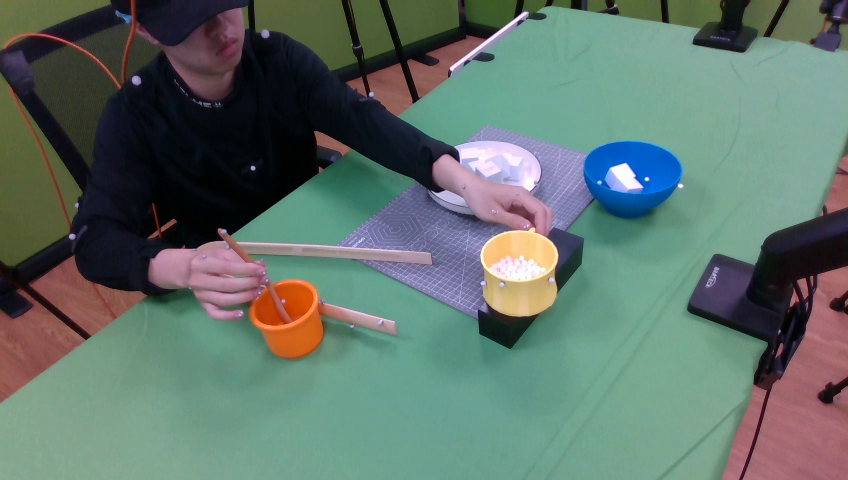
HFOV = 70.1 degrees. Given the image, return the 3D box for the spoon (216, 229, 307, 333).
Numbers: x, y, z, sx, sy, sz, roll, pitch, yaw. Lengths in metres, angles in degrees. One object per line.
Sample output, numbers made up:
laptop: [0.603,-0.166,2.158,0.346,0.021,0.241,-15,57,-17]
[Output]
spoon: [-0.211,0.057,0.793,0.022,0.195,0.041,-38,32,-19]

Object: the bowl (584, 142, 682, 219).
bowl: [0.333,-0.087,0.980,0.151,0.077,0.150,-4,40,3]

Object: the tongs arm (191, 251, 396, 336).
tongs arm: [-0.203,0.075,0.903,0.382,0.026,0.051,11,44,22]

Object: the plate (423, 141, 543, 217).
plate: [0.103,-0.103,1.059,0.207,0.039,0.206,-4,40,4]

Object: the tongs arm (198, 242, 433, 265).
tongs arm: [-0.176,0.025,0.961,0.386,0.028,0.028,2,45,12]

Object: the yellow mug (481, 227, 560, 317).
yellow mug: [0.131,0.033,0.801,0.099,0.064,0.131,11,43,20]
